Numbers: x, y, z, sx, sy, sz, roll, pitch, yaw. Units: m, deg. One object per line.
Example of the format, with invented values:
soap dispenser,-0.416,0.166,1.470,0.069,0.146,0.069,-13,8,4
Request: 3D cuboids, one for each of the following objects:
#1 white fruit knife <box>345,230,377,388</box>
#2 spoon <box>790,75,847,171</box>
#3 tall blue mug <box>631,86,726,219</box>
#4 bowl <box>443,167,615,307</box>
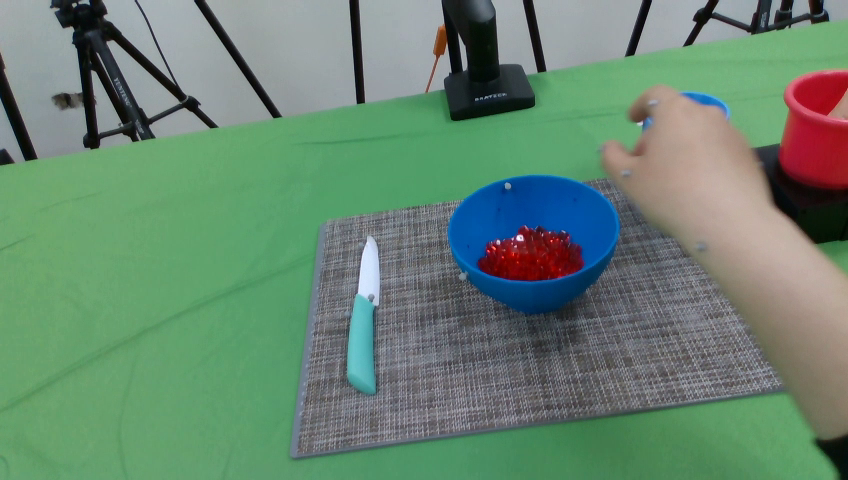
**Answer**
white fruit knife,-0.060,0.056,0.591,0.027,0.016,0.205,15,37,-15
spoon,0.393,-0.151,0.552,0.041,0.022,0.194,29,99,39
tall blue mug,0.259,-0.079,0.597,0.078,0.109,0.106,-27,43,-18
bowl,0.097,0.009,0.559,0.151,0.077,0.150,-6,41,6
